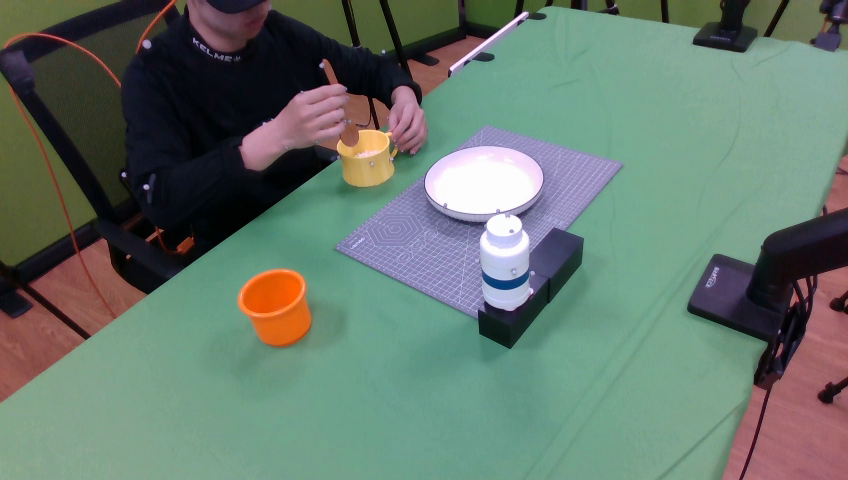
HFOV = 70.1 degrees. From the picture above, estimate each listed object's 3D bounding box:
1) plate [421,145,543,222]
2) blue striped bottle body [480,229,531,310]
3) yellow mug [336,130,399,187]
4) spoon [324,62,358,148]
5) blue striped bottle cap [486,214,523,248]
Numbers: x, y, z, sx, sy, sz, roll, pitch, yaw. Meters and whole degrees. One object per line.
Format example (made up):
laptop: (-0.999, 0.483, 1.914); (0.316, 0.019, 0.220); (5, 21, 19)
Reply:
plate: (0.101, -0.094, 1.048); (0.207, 0.039, 0.206); (-4, 41, 4)
blue striped bottle body: (0.104, 0.027, 0.769); (0.063, 0.121, 0.063); (-4, 40, 4)
yellow mug: (-0.098, -0.161, 1.138); (0.131, 0.064, 0.099); (-33, 47, -28)
spoon: (-0.139, -0.224, 1.018); (0.021, 0.194, 0.041); (32, 67, 20)
blue striped bottle cap: (0.098, -0.011, 0.735); (0.044, 0.021, 0.044); (-3, 38, 3)
